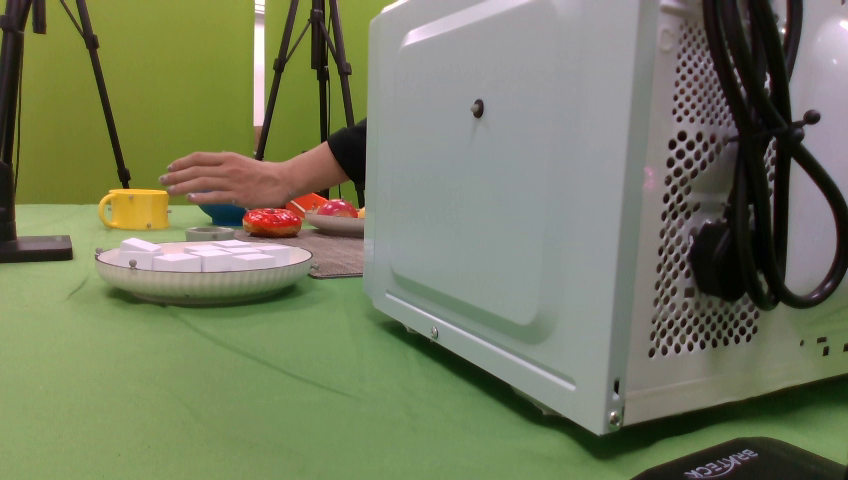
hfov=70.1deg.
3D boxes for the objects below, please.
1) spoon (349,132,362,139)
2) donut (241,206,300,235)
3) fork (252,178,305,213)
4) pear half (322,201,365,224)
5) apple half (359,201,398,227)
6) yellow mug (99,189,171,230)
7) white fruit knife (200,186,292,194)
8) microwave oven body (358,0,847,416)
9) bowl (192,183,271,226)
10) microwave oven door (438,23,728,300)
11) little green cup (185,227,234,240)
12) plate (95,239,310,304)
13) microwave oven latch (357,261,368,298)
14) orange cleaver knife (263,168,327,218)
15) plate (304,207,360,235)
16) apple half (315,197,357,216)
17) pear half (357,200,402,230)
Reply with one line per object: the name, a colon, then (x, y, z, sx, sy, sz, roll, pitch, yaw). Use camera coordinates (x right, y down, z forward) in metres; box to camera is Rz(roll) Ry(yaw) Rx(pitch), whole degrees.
spoon: (-0.100, -0.248, 1.329, 0.041, 0.021, 0.194, 4, 25, 31)
donut: (-0.263, -0.032, 1.039, 0.099, 0.048, 0.099, 4, 10, 0)
fork: (-0.295, -0.084, 1.292, 0.206, 0.018, 0.028, 29, 11, 25)
pear half: (-0.157, -0.059, 1.197, 0.088, 0.031, 0.070, 12, 31, -4)
apple half: (-0.088, -0.058, 1.190, 0.081, 0.033, 0.081, 9, 29, -5)
yellow mug: (-0.518, -0.055, 1.080, 0.099, 0.064, 0.131, 6, 9, 26)
white fruit knife: (-0.399, -0.111, 1.368, 0.208, 0.016, 0.027, -4, -19, -30)
microwave oven body: (0.211, -0.047, 0.474, 0.444, 0.260, 0.324, -1, 7, -28)
bowl: (-0.382, -0.071, 1.202, 0.151, 0.077, 0.151, 3, 7, 0)
microwave oven door: (0.181, -0.073, 0.620, 0.358, 0.243, 0.039, -2, 8, -29)
little green cup: (-0.285, 0.005, 0.805, 0.061, 0.038, 0.061, 2, 8, 0)
plate: (-0.224, 0.031, 0.629, 0.208, 0.039, 0.207, 2, 8, 0)
microwave oven latch: (-0.019, 0.033, 0.530, 0.079, 0.029, 0.030, -1, 7, -26)
orange cleaver knife: (-0.263, -0.087, 1.353, 0.211, 0.077, 0.012, 28, 13, -1)
plate: (-0.123, -0.037, 1.149, 0.209, 0.038, 0.209, 2, 7, 0)
apple half: (-0.162, -0.052, 1.121, 0.081, 0.053, 0.074, 4, 7, -14)
pear half: (-0.075, -0.046, 1.133, 0.076, 0.056, 0.110, 12, 7, 31)
